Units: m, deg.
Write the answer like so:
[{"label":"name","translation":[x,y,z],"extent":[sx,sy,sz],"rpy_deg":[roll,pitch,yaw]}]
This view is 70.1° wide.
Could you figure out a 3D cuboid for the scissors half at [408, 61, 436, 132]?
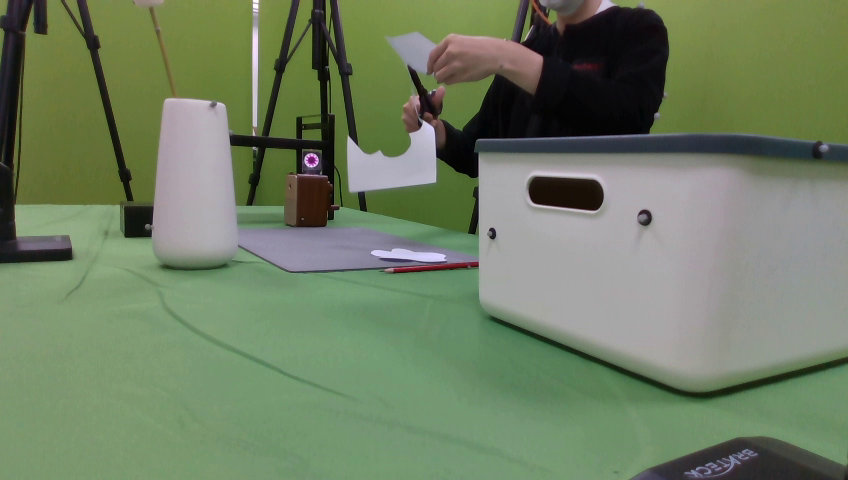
[{"label":"scissors half","translation":[-0.007,-0.254,1.082],"extent":[0.012,0.040,0.175],"rpy_deg":[22,-25,25]}]

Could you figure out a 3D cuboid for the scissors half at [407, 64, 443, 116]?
[{"label":"scissors half","translation":[0.002,-0.272,1.087],"extent":[0.013,0.040,0.176],"rpy_deg":[17,-5,24]}]

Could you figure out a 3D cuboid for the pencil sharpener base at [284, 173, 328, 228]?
[{"label":"pencil sharpener base","translation":[-0.239,-0.081,1.231],"extent":[0.077,0.107,0.061],"rpy_deg":[-2,8,-36]}]

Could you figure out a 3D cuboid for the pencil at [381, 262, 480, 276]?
[{"label":"pencil","translation":[0.031,0.037,0.794],"extent":[0.195,0.012,0.012],"rpy_deg":[-3,10,-31]}]

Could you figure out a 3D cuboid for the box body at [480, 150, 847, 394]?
[{"label":"box body","translation":[0.254,0.001,0.539],"extent":[0.366,0.160,0.253],"rpy_deg":[-2,9,-31]}]

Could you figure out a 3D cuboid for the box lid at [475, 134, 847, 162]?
[{"label":"box lid","translation":[0.256,-0.073,0.528],"extent":[0.373,0.015,0.262],"rpy_deg":[-2,8,-31]}]

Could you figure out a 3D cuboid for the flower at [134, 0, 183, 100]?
[{"label":"flower","translation":[-0.282,-0.147,0.713],"extent":[0.038,0.362,0.044],"rpy_deg":[-23,24,-31]}]

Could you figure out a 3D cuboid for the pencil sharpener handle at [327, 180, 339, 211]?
[{"label":"pencil sharpener handle","translation":[-0.194,-0.094,1.256],"extent":[0.031,0.067,0.036],"rpy_deg":[-2,-5,-36]}]

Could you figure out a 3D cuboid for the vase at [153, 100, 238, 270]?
[{"label":"vase","translation":[-0.278,-0.066,0.736],"extent":[0.098,0.200,0.098],"rpy_deg":[2,9,0]}]
